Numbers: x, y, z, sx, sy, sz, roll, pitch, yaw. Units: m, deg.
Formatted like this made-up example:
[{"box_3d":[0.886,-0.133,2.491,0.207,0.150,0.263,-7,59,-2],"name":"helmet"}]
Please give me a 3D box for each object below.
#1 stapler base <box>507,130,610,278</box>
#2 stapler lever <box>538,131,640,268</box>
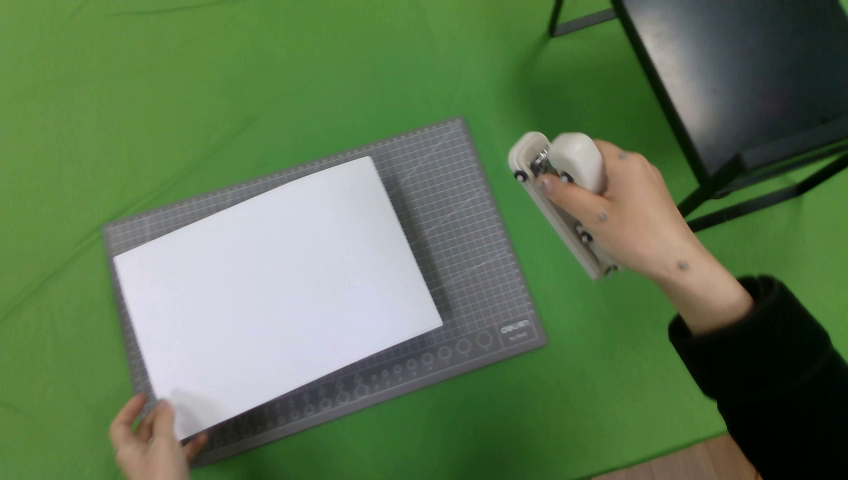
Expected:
[{"box_3d":[0.116,-0.029,0.470,0.041,0.024,0.131,-47,110,-21],"name":"stapler base"},{"box_3d":[0.129,-0.030,0.450,0.027,0.040,0.119,-47,109,-21],"name":"stapler lever"}]
